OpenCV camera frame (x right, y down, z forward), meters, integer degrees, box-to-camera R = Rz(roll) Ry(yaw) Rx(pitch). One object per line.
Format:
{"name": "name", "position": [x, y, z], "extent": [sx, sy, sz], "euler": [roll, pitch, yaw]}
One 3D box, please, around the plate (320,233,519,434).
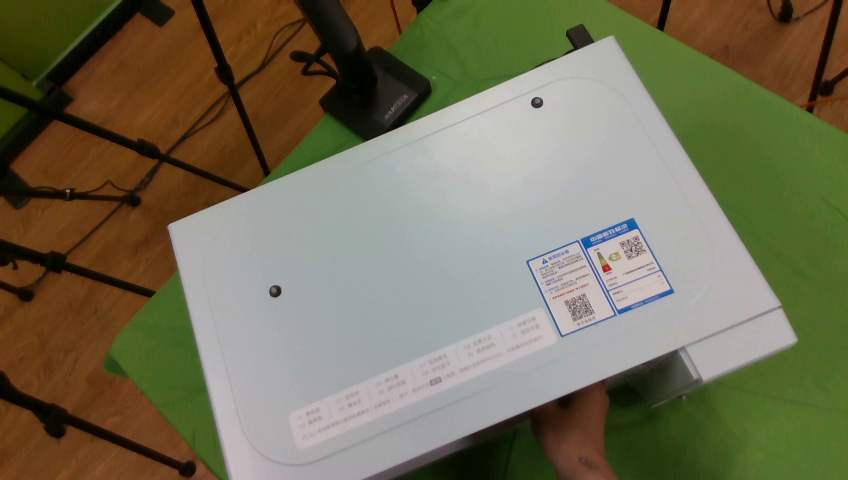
{"name": "plate", "position": [-0.004, 0.098, 0.646], "extent": [0.207, 0.039, 0.206], "euler": [-1, 78, 5]}

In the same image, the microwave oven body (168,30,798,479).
{"name": "microwave oven body", "position": [0.037, 0.053, 0.609], "extent": [0.442, 0.262, 0.323], "euler": [-23, 69, 2]}

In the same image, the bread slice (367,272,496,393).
{"name": "bread slice", "position": [0.004, 0.095, 0.660], "extent": [0.132, 0.019, 0.104], "euler": [22, 77, -5]}

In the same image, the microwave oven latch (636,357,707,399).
{"name": "microwave oven latch", "position": [0.269, 0.143, 0.643], "extent": [0.079, 0.030, 0.030], "euler": [-22, 69, 2]}
